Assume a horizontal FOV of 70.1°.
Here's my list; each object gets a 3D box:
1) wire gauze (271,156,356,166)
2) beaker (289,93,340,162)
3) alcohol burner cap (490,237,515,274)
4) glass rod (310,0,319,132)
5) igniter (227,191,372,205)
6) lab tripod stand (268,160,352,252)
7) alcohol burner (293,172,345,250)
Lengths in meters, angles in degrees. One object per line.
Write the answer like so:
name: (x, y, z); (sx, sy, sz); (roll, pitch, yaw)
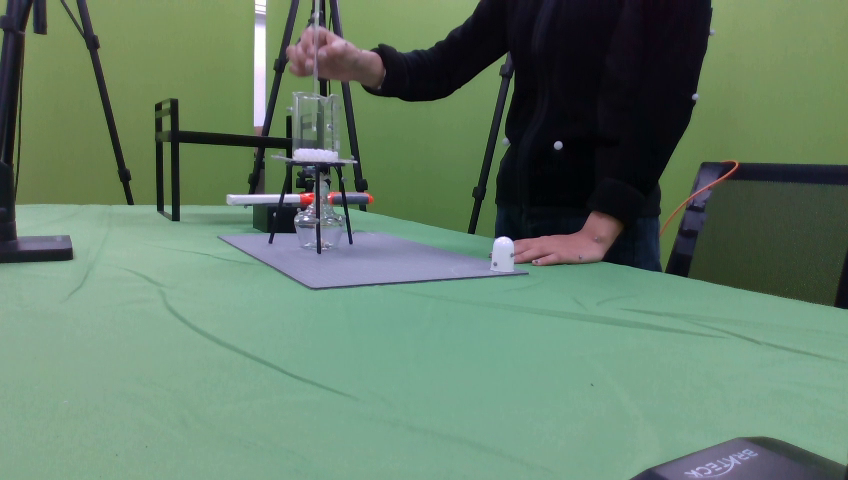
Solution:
wire gauze: (-0.166, -0.120, 0.916); (0.125, 0.011, 0.121); (-2, 6, -9)
beaker: (-0.162, -0.167, 0.908); (0.074, 0.100, 0.083); (-4, 10, -31)
alcohol burner cap: (0.104, 0.020, 0.793); (0.034, 0.048, 0.034); (2, 6, 0)
glass rod: (-0.165, -0.262, 0.908); (0.008, 0.199, 0.008); (2, 0, 0)
igniter: (-0.232, -0.080, 1.161); (0.278, 0.025, 0.057); (-3, 12, -28)
lab tripod stand: (-0.171, -0.055, 0.921); (0.148, 0.131, 0.148); (1, 9, 0)
alcohol burner: (-0.159, -0.044, 0.921); (0.078, 0.119, 0.078); (5, 7, 0)
